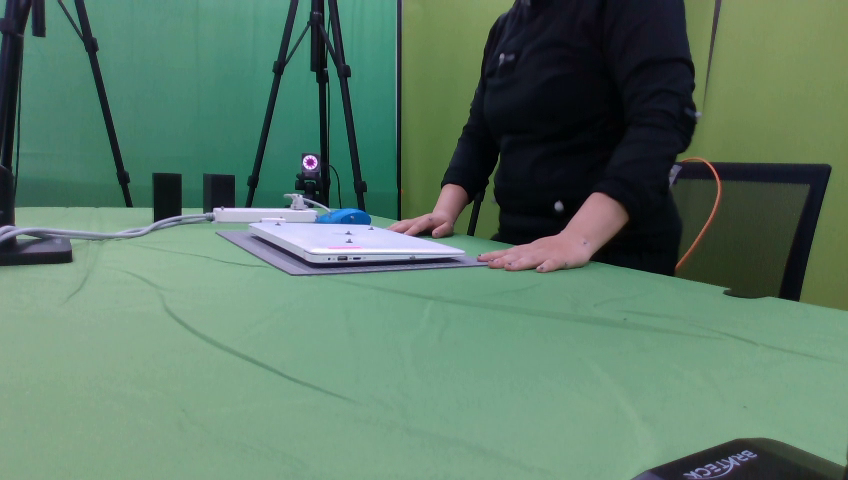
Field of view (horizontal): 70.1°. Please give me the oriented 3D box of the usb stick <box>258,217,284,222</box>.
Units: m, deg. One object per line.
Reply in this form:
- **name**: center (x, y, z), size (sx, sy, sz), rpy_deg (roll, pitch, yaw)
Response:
- **usb stick**: center (-0.290, -0.028, 1.119), size (0.059, 0.027, 0.021), rpy_deg (-3, 12, -29)

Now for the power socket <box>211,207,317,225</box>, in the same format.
- **power socket**: center (-0.334, -0.051, 1.281), size (0.228, 0.032, 0.072), rpy_deg (-1, 8, -28)

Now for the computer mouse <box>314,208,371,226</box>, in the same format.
- **computer mouse**: center (-0.174, -0.047, 1.292), size (0.118, 0.041, 0.062), rpy_deg (-7, 14, -34)

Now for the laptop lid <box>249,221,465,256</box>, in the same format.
- **laptop lid**: center (-0.121, -0.005, 0.955), size (0.243, 0.013, 0.355), rpy_deg (1, 7, -28)

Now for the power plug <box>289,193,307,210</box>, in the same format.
- **power plug**: center (-0.281, -0.076, 1.341), size (0.035, 0.052, 0.072), rpy_deg (3, 6, -18)

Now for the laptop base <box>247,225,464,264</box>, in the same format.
- **laptop base**: center (-0.124, 0.006, 0.955), size (0.237, 0.023, 0.352), rpy_deg (2, 6, -30)
